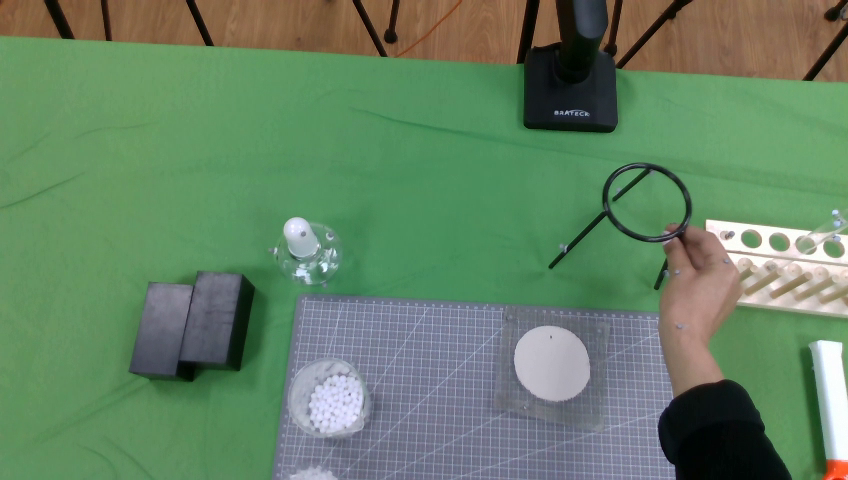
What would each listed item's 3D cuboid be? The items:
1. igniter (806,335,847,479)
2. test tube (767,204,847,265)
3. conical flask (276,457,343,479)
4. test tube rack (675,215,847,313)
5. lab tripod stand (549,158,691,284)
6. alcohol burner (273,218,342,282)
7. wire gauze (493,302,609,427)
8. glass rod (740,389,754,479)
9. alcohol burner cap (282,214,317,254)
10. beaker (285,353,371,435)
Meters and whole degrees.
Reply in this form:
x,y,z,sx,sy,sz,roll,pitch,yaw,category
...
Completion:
x,y,z,sx,sy,sz,roll,pitch,yaw,category
0.440,0.238,0.638,0.057,0.025,0.274,7,70,-7,igniter
0.405,-0.002,0.642,0.017,0.151,0.017,-1,69,3,test tube
-0.119,0.247,0.581,0.075,0.122,0.075,0,70,0,conical flask
0.421,0.031,0.683,0.242,0.086,0.066,6,70,3,test tube rack
0.219,-0.017,0.667,0.148,0.132,0.147,1,69,-2,lab tripod stand
-0.134,0.005,0.678,0.078,0.120,0.077,-1,70,2,alcohol burner
0.144,0.137,0.683,0.125,0.011,0.121,11,70,1,wire gauze
0.345,0.259,0.640,0.008,0.008,0.198,5,72,1,glass rod
-0.134,-0.009,0.645,0.034,0.048,0.033,1,63,-1,alcohol burner cap
-0.091,0.164,0.624,0.083,0.101,0.074,38,74,12,beaker
